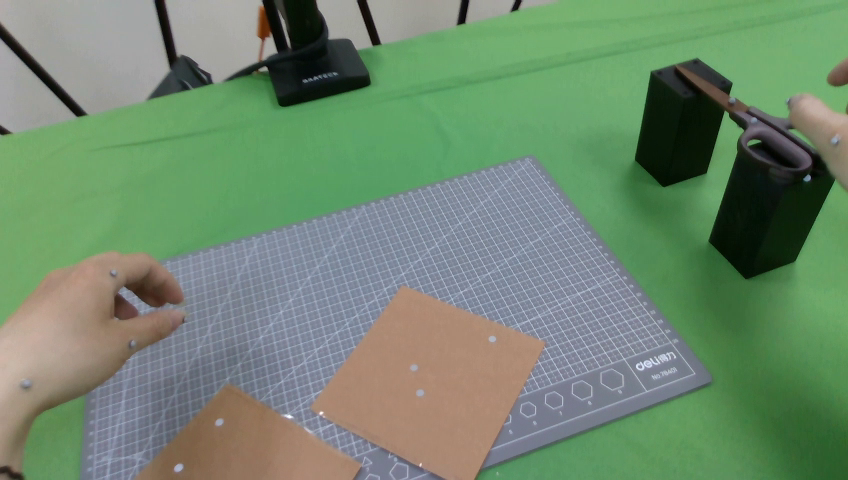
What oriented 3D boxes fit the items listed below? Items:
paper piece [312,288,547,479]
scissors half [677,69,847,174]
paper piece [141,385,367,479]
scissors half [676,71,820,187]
[{"bbox_3d":[0.007,0.104,0.460,0.134,0.004,0.135,19,50,25],"label":"paper piece"},{"bbox_3d":[0.270,-0.105,0.493,0.040,0.013,0.173,-28,47,-13],"label":"scissors half"},{"bbox_3d":[-0.132,0.176,0.407,0.135,0.009,0.138,20,52,29],"label":"paper piece"},{"bbox_3d":[0.251,-0.098,0.490,0.040,0.013,0.173,-12,44,-5],"label":"scissors half"}]
